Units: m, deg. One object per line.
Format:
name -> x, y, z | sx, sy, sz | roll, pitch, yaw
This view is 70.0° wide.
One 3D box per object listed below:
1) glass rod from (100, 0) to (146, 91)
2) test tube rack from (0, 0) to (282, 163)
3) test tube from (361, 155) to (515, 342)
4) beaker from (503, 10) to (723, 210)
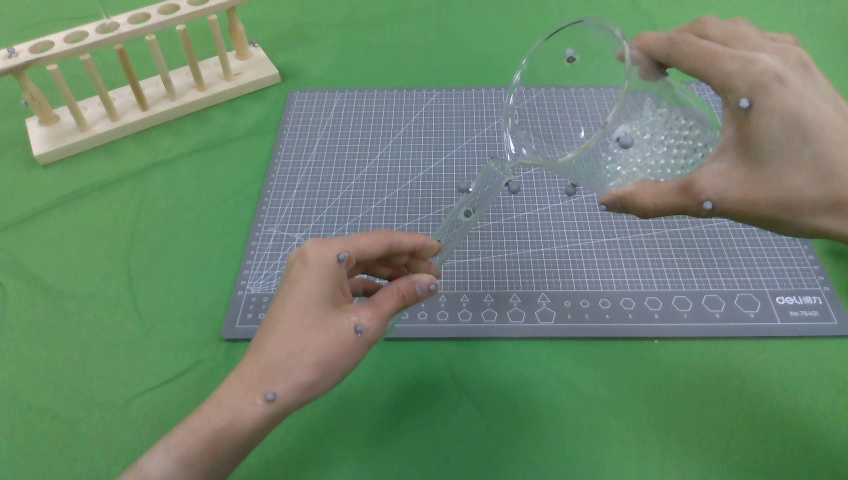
glass rod -> -0.286, -0.211, 0.541 | 0.008, 0.201, 0.008 | 1, 52, -1
test tube rack -> -0.272, -0.169, 0.592 | 0.242, 0.086, 0.066 | -25, 53, -17
test tube -> 0.003, 0.011, 0.351 | 0.017, 0.150, 0.017 | 26, 33, -18
beaker -> 0.101, -0.059, 0.319 | 0.101, 0.084, 0.073 | 16, 35, -37
